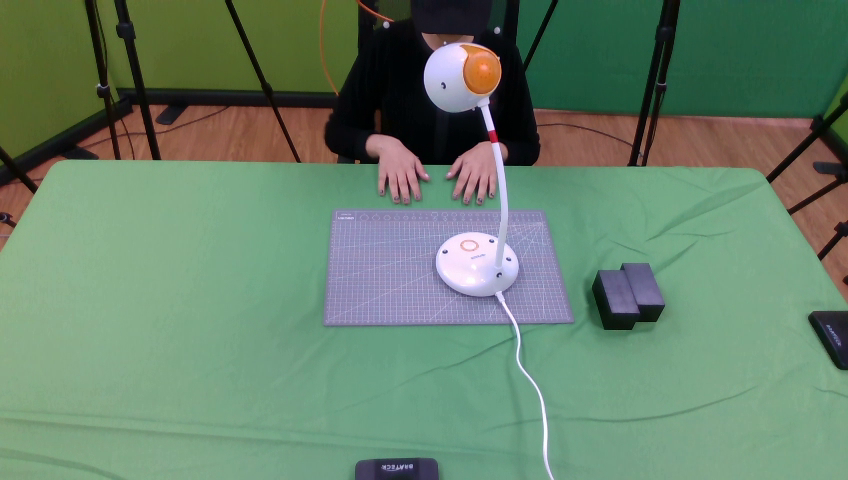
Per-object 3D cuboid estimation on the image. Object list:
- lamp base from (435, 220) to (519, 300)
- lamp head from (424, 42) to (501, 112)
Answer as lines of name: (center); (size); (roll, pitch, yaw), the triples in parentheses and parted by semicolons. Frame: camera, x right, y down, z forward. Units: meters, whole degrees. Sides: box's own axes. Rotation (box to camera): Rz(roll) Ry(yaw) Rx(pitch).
lamp base: (0.112, -0.003, 1.096); (0.161, 0.181, 0.178); (-22, 54, -23)
lamp head: (0.071, -0.258, 0.962); (0.112, 0.113, 0.122); (-16, 19, -18)
